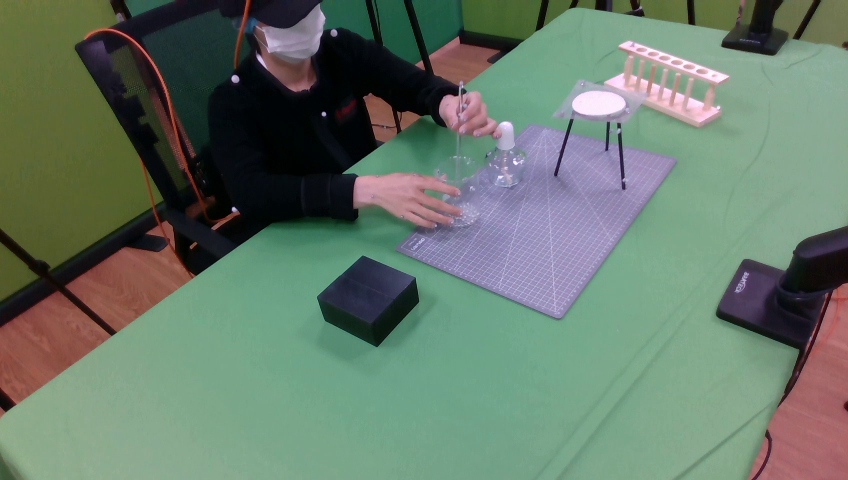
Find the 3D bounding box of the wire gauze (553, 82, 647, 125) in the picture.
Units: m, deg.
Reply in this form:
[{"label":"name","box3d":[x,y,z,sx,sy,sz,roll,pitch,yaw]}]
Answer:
[{"label":"wire gauze","box3d":[0.293,-0.225,1.002,0.120,0.011,0.125,17,45,27]}]

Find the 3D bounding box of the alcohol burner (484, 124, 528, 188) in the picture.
[{"label":"alcohol burner","box3d":[0.144,-0.152,1.059,0.078,0.119,0.077,-3,41,3]}]

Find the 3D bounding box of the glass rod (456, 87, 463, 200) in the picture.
[{"label":"glass rod","box3d":[0.056,-0.145,0.945,0.008,0.200,0.008,0,39,1]}]

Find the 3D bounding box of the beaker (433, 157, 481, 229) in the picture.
[{"label":"beaker","box3d":[0.058,-0.077,0.994,0.073,0.101,0.084,19,46,29]}]

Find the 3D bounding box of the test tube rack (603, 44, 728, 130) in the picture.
[{"label":"test tube rack","box3d":[0.480,-0.316,1.227,0.067,0.085,0.240,-28,44,-22]}]

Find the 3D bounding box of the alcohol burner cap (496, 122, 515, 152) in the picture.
[{"label":"alcohol burner cap","box3d":[0.139,-0.179,1.037,0.034,0.048,0.033,-4,43,4]}]

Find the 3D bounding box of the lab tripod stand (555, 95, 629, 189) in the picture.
[{"label":"lab tripod stand","box3d":[0.300,-0.174,1.045,0.148,0.132,0.147,-5,38,5]}]
